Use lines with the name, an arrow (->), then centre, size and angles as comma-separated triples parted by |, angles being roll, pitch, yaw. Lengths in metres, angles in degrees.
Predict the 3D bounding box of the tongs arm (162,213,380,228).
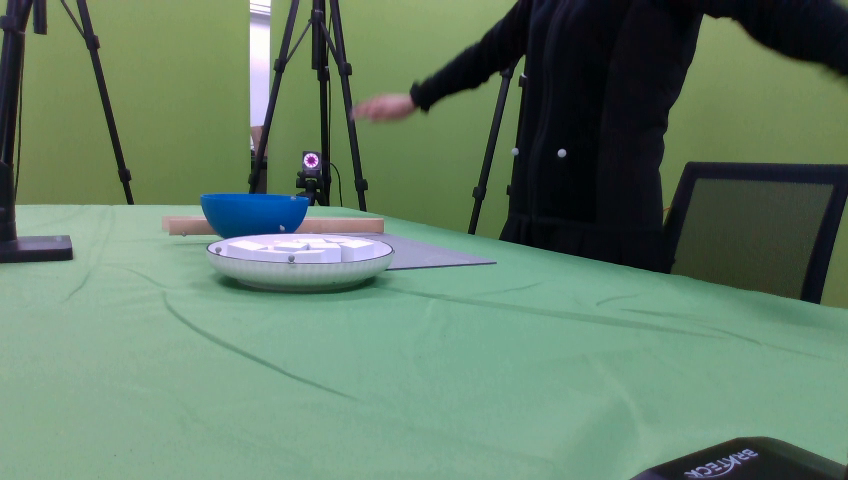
tongs arm -> -0.271, -0.033, 1.113 | 0.389, 0.027, 0.028 | 0, 1, -18

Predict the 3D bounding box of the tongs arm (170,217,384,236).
tongs arm -> -0.233, -0.024, 1.039 | 0.387, 0.026, 0.050 | -2, 5, -32

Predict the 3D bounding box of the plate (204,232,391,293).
plate -> -0.143, 0.025, 0.697 | 0.208, 0.039, 0.207 | 3, 9, 0

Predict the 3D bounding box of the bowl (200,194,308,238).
bowl -> -0.245, -0.025, 0.879 | 0.151, 0.077, 0.151 | 2, 7, 0
